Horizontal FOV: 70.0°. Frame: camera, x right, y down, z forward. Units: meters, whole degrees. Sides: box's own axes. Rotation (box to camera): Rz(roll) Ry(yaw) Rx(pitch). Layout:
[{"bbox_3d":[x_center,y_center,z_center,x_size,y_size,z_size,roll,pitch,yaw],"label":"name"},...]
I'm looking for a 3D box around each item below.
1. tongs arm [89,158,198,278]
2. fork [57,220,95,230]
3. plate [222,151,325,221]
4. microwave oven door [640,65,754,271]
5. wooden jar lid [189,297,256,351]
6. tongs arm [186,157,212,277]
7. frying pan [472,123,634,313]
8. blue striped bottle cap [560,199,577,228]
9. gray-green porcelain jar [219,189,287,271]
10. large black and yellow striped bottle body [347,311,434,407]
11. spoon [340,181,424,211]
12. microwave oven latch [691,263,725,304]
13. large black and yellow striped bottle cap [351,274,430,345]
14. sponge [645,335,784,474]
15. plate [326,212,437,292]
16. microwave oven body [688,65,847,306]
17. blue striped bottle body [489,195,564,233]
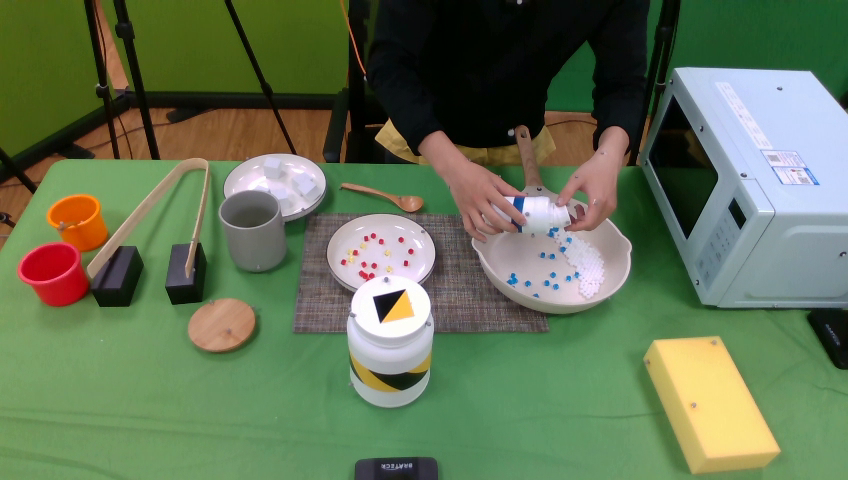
[{"bbox_3d":[-0.530,-0.057,1.164,0.028,0.028,0.385,1,36,8],"label":"tongs arm"},{"bbox_3d":[-0.624,-0.027,1.087,0.028,0.207,0.018,-3,92,-17],"label":"fork"},{"bbox_3d":[-0.310,-0.106,1.263,0.208,0.039,0.206,2,47,-2],"label":"plate"},{"bbox_3d":[0.524,-0.148,1.193,0.039,0.245,0.353,0,47,-3],"label":"microwave oven door"},{"bbox_3d":[-0.342,0.145,1.033,0.108,0.021,0.107,2,45,-2],"label":"wooden jar lid"},{"bbox_3d":[-0.445,-0.058,1.168,0.051,0.026,0.382,-5,37,-6],"label":"tongs arm"},{"bbox_3d":[0.236,-0.060,1.207,0.307,0.103,0.484,2,55,-6],"label":"frying pan"},{"bbox_3d":[0.233,-0.044,0.996,0.020,0.045,0.044,-25,40,26],"label":"blue striped bottle cap"},{"bbox_3d":[-0.310,-0.014,1.113,0.106,0.127,0.105,2,46,-2],"label":"gray-green porcelain jar"},{"bbox_3d":[-0.052,0.157,0.929,0.131,0.185,0.130,2,47,-2],"label":"large black and yellow striped bottle body"},{"bbox_3d":[-0.090,-0.100,1.282,0.193,0.022,0.041,18,67,12],"label":"spoon"},{"bbox_3d":[0.521,0.081,1.116,0.030,0.029,0.078,0,46,-3],"label":"microwave oven latch"},{"bbox_3d":[-0.048,0.097,0.868,0.115,0.019,0.114,3,48,-3],"label":"large black and yellow striped bottle cap"},{"bbox_3d":[0.449,0.253,0.956,0.118,0.061,0.205,-4,46,-7],"label":"sponge"},{"bbox_3d":[-0.080,0.030,1.143,0.209,0.038,0.208,2,46,-2],"label":"plate"},{"bbox_3d":[0.669,-0.111,1.176,0.326,0.261,0.439,0,46,-3],"label":"microwave oven body"},{"bbox_3d":[0.173,-0.044,1.009,0.120,0.063,0.063,1,45,14],"label":"blue striped bottle body"}]
